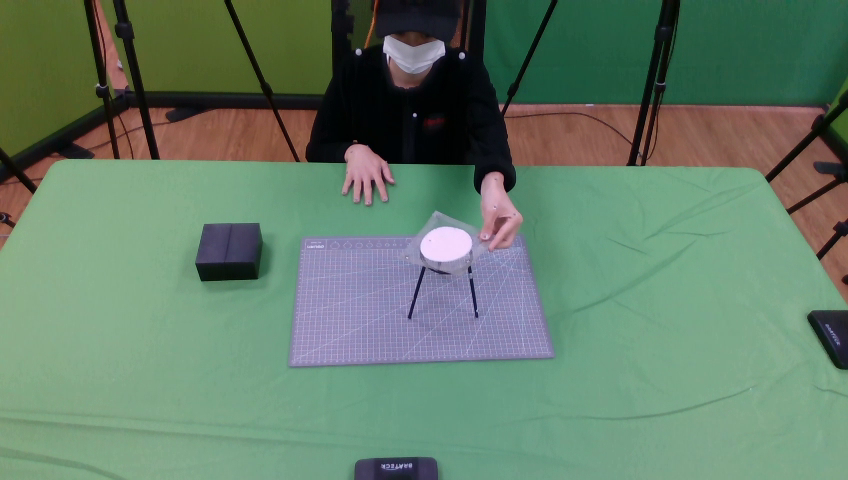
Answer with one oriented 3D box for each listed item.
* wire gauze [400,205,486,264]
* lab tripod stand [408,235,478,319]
[{"bbox_3d":[0.033,-0.010,0.992,0.125,0.011,0.121,0,47,18],"label":"wire gauze"},{"bbox_3d":[0.032,0.065,1.057,0.148,0.132,0.147,1,45,-1],"label":"lab tripod stand"}]
